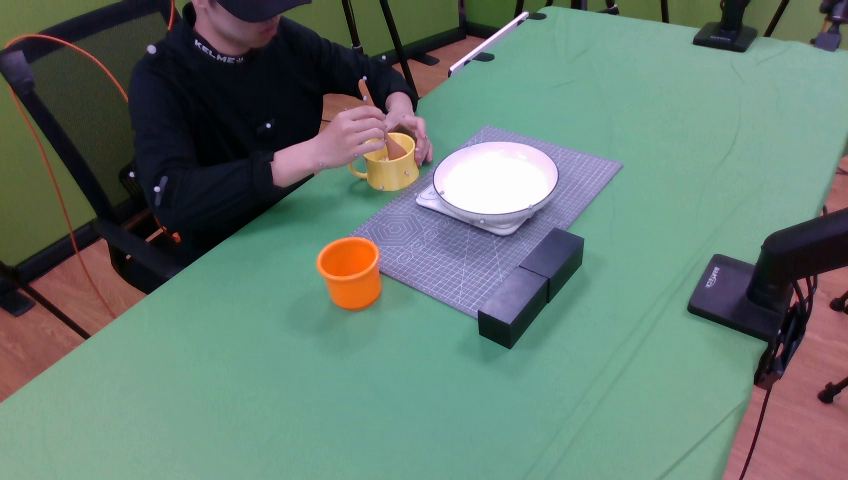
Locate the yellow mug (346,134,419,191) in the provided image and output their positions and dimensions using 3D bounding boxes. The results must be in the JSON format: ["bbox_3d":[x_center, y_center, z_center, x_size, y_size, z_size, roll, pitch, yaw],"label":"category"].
[{"bbox_3d":[-0.079,-0.142,1.115,0.131,0.064,0.099,-6,38,3],"label":"yellow mug"}]

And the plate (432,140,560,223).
[{"bbox_3d":[0.118,-0.094,0.999,0.209,0.038,0.208,-4,41,4],"label":"plate"}]

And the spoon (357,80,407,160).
[{"bbox_3d":[-0.073,-0.193,1.042,0.042,0.195,0.021,-40,39,-13],"label":"spoon"}]

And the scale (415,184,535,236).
[{"bbox_3d":[0.099,-0.080,1.035,0.199,0.032,0.149,23,48,31],"label":"scale"}]
